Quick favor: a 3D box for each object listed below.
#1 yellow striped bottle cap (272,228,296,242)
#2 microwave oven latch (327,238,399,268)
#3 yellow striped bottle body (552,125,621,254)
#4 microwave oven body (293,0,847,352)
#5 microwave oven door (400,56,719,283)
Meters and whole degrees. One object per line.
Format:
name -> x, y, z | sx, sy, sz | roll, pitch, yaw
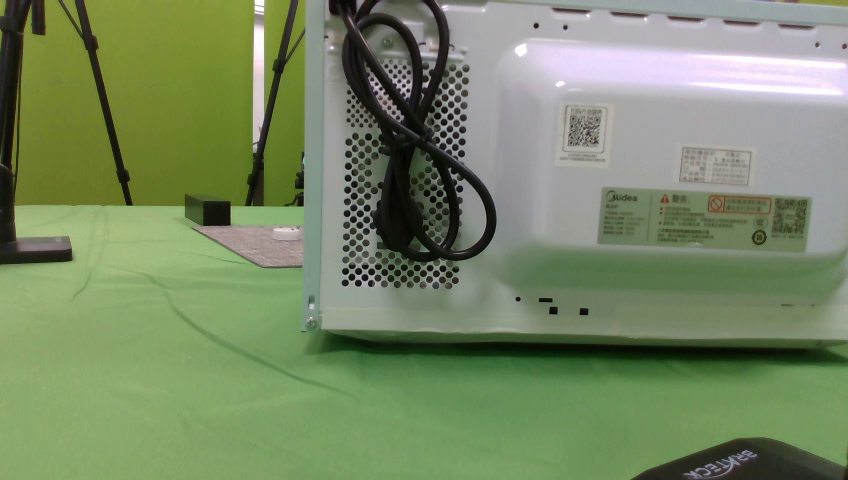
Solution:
yellow striped bottle cap -> -0.232, -0.008, 1.012 | 0.044, 0.018, 0.044 | 4, 9, 0
microwave oven latch -> -0.069, 0.015, 0.694 | 0.079, 0.029, 0.030 | 3, 7, -3
yellow striped bottle body -> 0.157, -0.050, 0.586 | 0.063, 0.120, 0.063 | 1, 7, 0
microwave oven body -> 0.122, -0.055, 0.550 | 0.442, 0.260, 0.325 | 3, 7, -5
microwave oven door -> 0.155, -0.077, 0.698 | 0.356, 0.243, 0.039 | 2, 8, -5
